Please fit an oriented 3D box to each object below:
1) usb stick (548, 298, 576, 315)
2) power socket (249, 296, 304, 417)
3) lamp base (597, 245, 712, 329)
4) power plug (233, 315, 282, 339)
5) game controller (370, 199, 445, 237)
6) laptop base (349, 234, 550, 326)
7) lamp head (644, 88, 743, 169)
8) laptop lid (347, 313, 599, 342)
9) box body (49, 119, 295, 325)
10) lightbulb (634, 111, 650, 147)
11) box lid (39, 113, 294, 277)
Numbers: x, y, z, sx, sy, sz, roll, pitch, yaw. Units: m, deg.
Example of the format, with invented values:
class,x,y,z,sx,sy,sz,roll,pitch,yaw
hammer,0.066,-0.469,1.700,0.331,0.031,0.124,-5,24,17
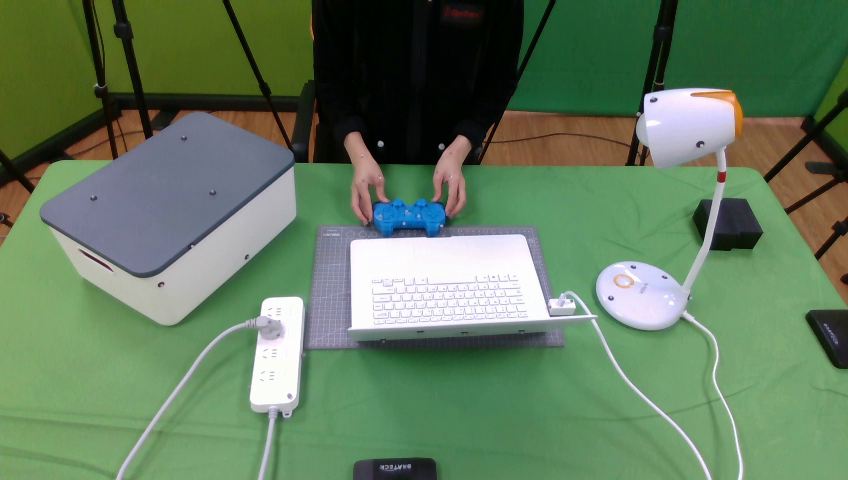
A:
class,x,y,z,sx,sy,sz,roll,pitch,yaw
usb stick,0.240,0.119,1.086,0.059,0.027,0.021,-2,52,-2
power socket,-0.239,0.182,0.996,0.072,0.033,0.225,-2,47,-5
lamp base,0.418,0.051,1.071,0.179,0.181,0.160,22,49,13
power plug,-0.271,0.144,0.999,0.072,0.053,0.035,6,47,3
game controller,-0.032,-0.053,1.229,0.155,0.052,0.096,0,48,-4
laptop base,0.040,0.081,1.125,0.355,0.023,0.234,-2,43,-6
lamp head,0.380,-0.161,0.851,0.122,0.113,0.112,-4,42,25
laptop lid,0.062,0.137,0.932,0.357,0.242,0.013,-2,77,-8
box body,-0.437,-0.046,1.110,0.253,0.161,0.363,24,49,18
lightbulb,0.348,-0.163,0.852,0.059,0.060,0.107,-36,19,-32
box lid,-0.435,-0.096,1.056,0.262,0.015,0.370,25,48,18
